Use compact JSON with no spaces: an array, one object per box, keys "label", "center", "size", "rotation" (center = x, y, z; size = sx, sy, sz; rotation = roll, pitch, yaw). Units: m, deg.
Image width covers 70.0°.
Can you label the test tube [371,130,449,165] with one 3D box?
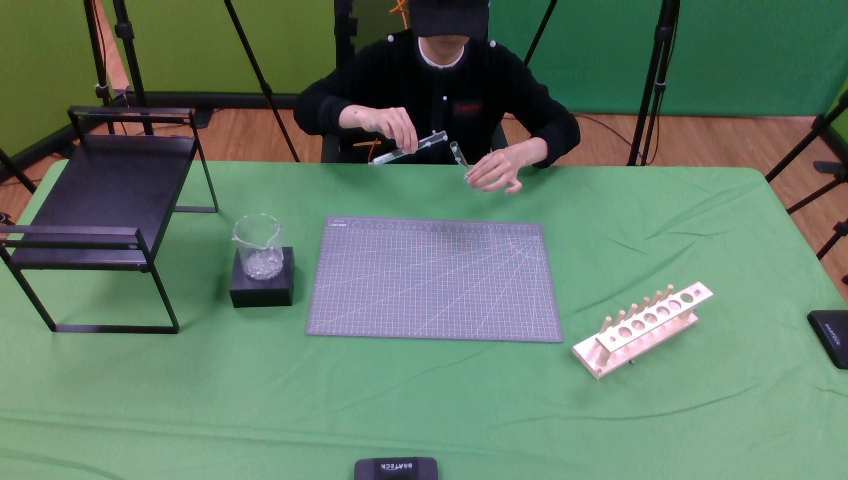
[{"label":"test tube","center":[-0.027,-0.170,1.118],"size":[0.150,0.017,0.017],"rotation":[-20,48,5]}]

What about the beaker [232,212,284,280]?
[{"label":"beaker","center":[-0.280,0.016,1.037],"size":[0.074,0.101,0.083],"rotation":[-18,50,-20]}]

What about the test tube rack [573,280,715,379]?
[{"label":"test tube rack","center":[0.378,0.140,1.038],"size":[0.242,0.085,0.066],"rotation":[-22,51,-23]}]

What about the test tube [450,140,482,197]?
[{"label":"test tube","center":[0.083,-0.135,1.174],"size":[0.017,0.151,0.017],"rotation":[-15,47,17]}]
